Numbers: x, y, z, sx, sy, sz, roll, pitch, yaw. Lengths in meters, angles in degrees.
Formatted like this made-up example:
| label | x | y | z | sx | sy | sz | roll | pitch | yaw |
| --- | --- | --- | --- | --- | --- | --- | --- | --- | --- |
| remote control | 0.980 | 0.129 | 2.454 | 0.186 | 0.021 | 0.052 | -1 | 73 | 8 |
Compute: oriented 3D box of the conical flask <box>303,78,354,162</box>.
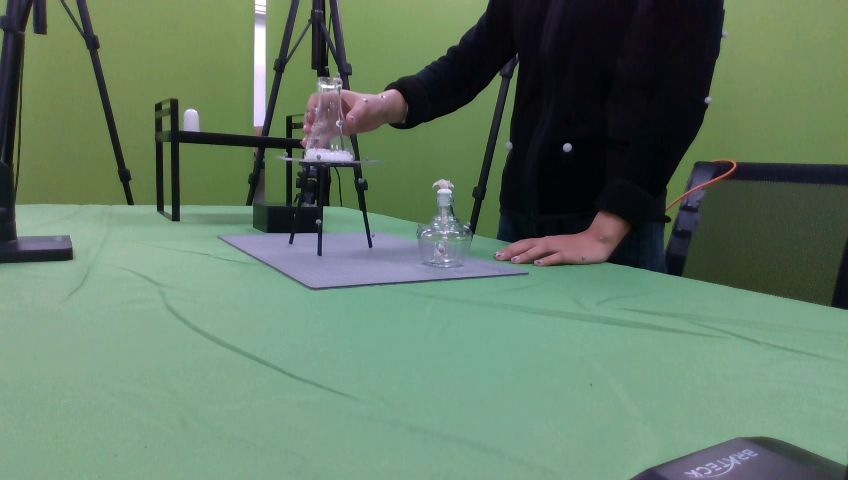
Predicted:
| label | x | y | z | sx | sy | sz | roll | pitch | yaw |
| --- | --- | --- | --- | --- | --- | --- | --- | --- | --- |
| conical flask | -0.141 | -0.175 | 0.892 | 0.075 | 0.122 | 0.075 | 2 | 7 | 0 |

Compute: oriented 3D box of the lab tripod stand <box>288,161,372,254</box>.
| label | x | y | z | sx | sy | sz | roll | pitch | yaw |
| --- | --- | --- | --- | --- | --- | --- | --- | --- | --- |
| lab tripod stand | -0.148 | -0.052 | 0.908 | 0.148 | 0.131 | 0.148 | 1 | 8 | 0 |

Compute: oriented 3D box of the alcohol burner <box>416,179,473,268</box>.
| label | x | y | z | sx | sy | sz | roll | pitch | yaw |
| --- | --- | --- | --- | --- | --- | --- | --- | --- | --- |
| alcohol burner | 0.028 | -0.022 | 0.816 | 0.078 | 0.119 | 0.078 | 0 | 6 | 0 |

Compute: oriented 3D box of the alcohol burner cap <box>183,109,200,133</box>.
| label | x | y | z | sx | sy | sz | roll | pitch | yaw |
| --- | --- | --- | --- | --- | --- | --- | --- | --- | --- |
| alcohol burner cap | -0.472 | -0.241 | 1.229 | 0.034 | 0.048 | 0.034 | 3 | 8 | 0 |

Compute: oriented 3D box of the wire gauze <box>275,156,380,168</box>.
| label | x | y | z | sx | sy | sz | roll | pitch | yaw |
| --- | --- | --- | --- | --- | --- | --- | --- | --- | --- |
| wire gauze | -0.142 | -0.116 | 0.899 | 0.122 | 0.011 | 0.124 | -1 | 5 | -36 |
